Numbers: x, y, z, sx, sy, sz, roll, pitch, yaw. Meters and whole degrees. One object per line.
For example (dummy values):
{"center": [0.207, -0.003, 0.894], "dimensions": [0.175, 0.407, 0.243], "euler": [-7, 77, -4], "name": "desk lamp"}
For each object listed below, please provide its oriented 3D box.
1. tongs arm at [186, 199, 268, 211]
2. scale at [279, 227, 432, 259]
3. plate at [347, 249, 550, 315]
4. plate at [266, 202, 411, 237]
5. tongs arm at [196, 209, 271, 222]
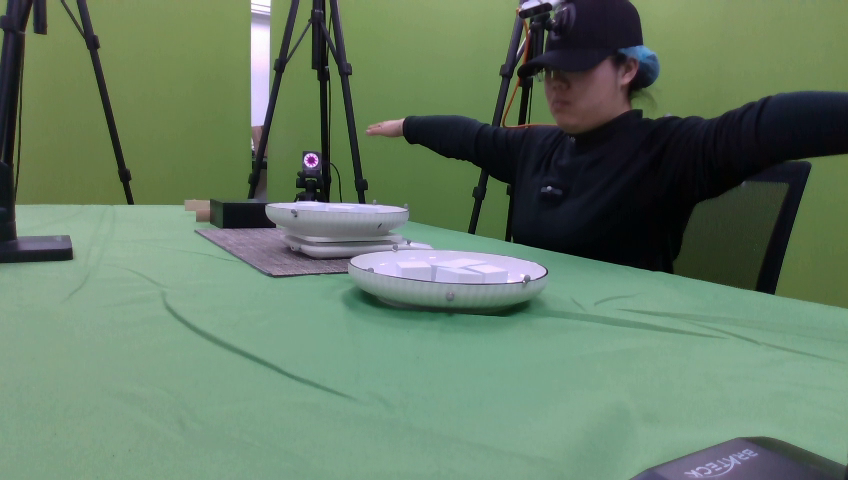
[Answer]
{"center": [-0.343, -0.072, 1.399], "dimensions": [0.387, 0.026, 0.050], "euler": [1, 9, -25], "name": "tongs arm"}
{"center": [-0.100, 0.001, 0.899], "dimensions": [0.202, 0.031, 0.148], "euler": [-1, 9, -31], "name": "scale"}
{"center": [0.025, 0.042, 0.627], "dimensions": [0.209, 0.038, 0.209], "euler": [2, 7, 0], "name": "plate"}
{"center": [-0.123, -0.030, 0.879], "dimensions": [0.208, 0.039, 0.207], "euler": [2, 6, 0], "name": "plate"}
{"center": [-0.304, -0.057, 1.330], "dimensions": [0.390, 0.028, 0.028], "euler": [-3, 7, -38], "name": "tongs arm"}
